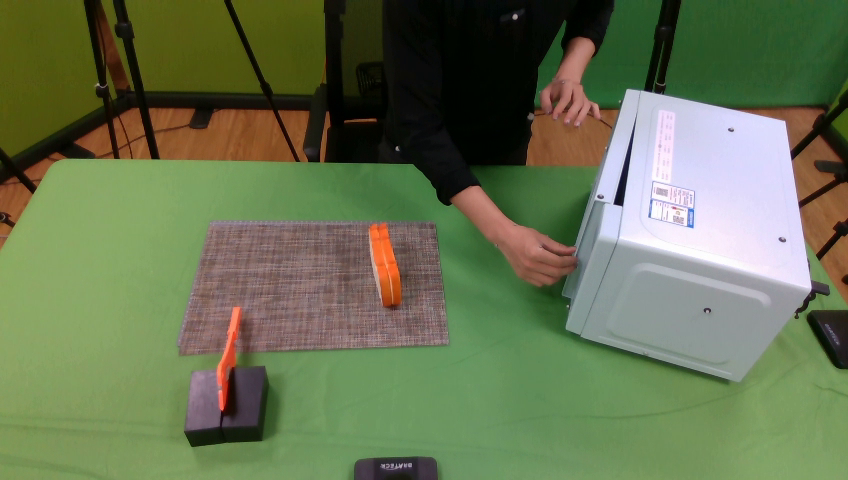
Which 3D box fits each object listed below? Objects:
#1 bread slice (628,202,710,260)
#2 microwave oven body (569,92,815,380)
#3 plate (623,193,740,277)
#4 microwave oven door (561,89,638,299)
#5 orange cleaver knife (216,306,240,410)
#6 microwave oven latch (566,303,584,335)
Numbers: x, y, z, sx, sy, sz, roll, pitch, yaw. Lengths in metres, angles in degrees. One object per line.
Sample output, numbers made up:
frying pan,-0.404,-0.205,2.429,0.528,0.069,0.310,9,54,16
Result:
bread slice,0.474,-0.024,1.162,0.134,0.018,0.106,-26,52,-17
microwave oven body,0.468,-0.022,1.082,0.325,0.261,0.440,15,46,11
plate,0.479,-0.006,1.140,0.208,0.039,0.206,0,47,0
microwave oven door,0.334,-0.093,1.134,0.039,0.245,0.354,18,47,12
orange cleaver knife,-0.307,0.180,0.957,0.012,0.077,0.210,-2,25,-8
microwave oven latch,0.268,0.126,1.059,0.030,0.029,0.079,16,46,12
